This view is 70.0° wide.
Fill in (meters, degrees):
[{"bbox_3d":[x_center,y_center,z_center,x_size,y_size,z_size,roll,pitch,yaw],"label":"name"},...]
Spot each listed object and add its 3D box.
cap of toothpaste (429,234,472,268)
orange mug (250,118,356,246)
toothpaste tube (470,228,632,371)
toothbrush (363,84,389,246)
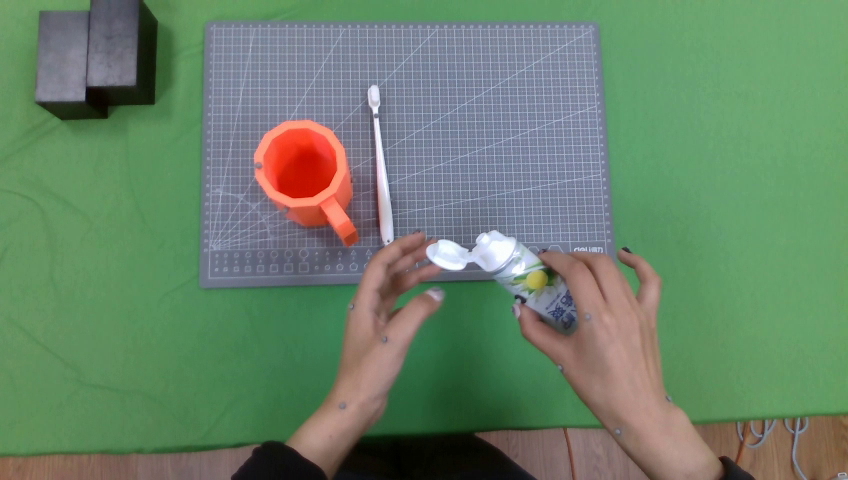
[{"bbox_3d":[0.021,0.008,0.482,0.037,0.037,0.011,22,124,0],"label":"cap of toothpaste"},{"bbox_3d":[-0.112,-0.052,0.613,0.083,0.101,0.125,-35,81,-8],"label":"orange mug"},{"bbox_3d":[0.102,0.046,0.499,0.166,0.034,0.055,38,97,-17],"label":"toothpaste tube"},{"bbox_3d":[-0.052,-0.084,0.663,0.014,0.016,0.181,-4,83,-19],"label":"toothbrush"}]
